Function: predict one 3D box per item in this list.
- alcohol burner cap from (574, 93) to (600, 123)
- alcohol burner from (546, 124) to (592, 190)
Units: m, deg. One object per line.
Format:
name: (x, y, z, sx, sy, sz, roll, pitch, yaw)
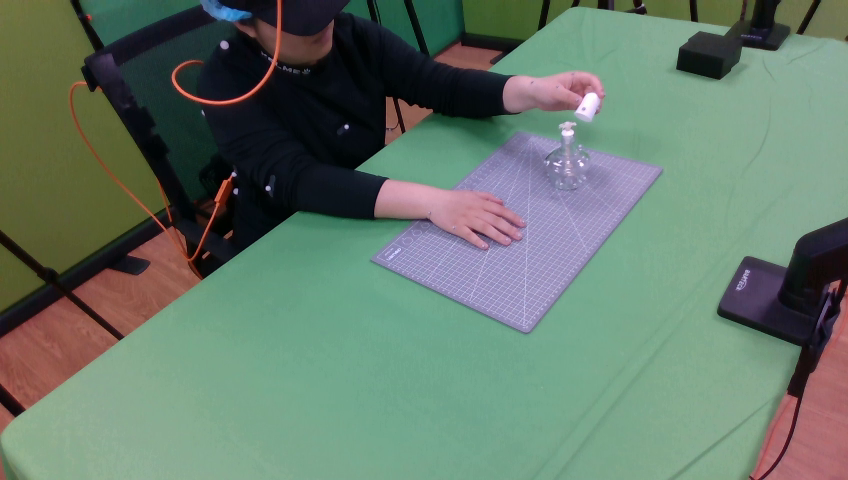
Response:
alcohol burner cap: (0.275, -0.223, 1.011, 0.033, 0.034, 0.048, 27, 91, 35)
alcohol burner: (0.247, -0.146, 1.035, 0.078, 0.120, 0.077, -7, 41, 6)
